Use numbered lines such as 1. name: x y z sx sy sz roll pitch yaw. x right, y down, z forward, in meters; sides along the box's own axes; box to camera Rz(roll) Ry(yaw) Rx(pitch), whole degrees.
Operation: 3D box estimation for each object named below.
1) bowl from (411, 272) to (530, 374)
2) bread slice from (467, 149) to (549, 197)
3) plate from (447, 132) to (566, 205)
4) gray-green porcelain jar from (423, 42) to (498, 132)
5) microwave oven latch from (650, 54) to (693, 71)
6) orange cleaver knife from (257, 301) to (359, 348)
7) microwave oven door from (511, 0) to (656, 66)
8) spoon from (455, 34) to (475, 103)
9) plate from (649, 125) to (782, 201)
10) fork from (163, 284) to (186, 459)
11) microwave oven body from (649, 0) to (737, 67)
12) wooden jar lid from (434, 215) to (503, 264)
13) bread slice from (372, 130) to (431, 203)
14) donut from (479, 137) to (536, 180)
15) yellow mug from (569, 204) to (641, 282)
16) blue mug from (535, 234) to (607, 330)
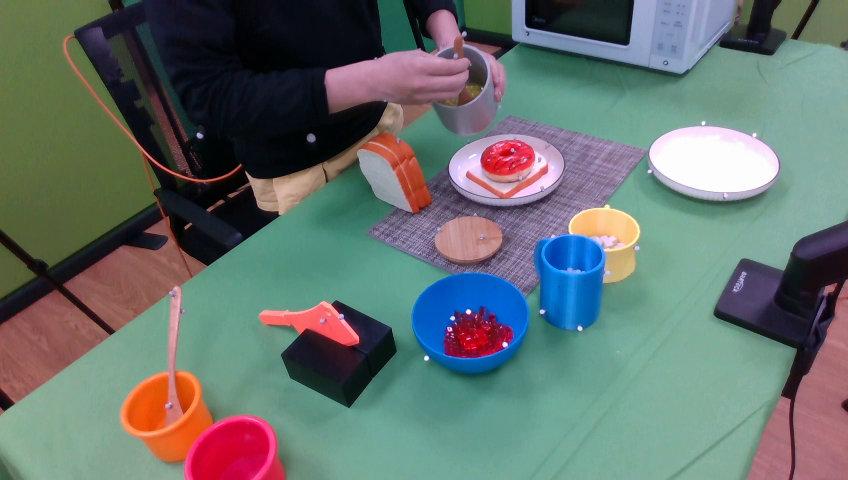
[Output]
1. bowl: 0.061 0.120 0.780 0.151 0.077 0.150 -4 40 4
2. bread slice: 0.156 -0.128 1.085 0.132 0.019 0.104 -34 48 -23
3. plate: 0.146 -0.124 1.076 0.209 0.038 0.208 -4 41 4
4. gray-green porcelain jar: 0.063 -0.238 0.971 0.105 0.127 0.105 -3 78 12
5. microwave oven latch: 0.531 -0.386 1.301 0.078 0.029 0.030 26 51 33
6. orange cleaver knife: -0.160 0.115 0.813 0.210 0.077 0.012 -9 29 48
7. microwave oven door: 0.351 -0.539 1.348 0.353 0.245 0.039 24 50 31
8. spoon: 0.057 -0.235 0.883 0.041 0.195 0.021 -25 65 -2
9. plate: 0.493 -0.127 1.036 0.207 0.039 0.206 -4 41 4
10. fork: -0.302 0.157 0.733 0.028 0.019 0.207 -3 84 14
11. microwave oven body: 0.475 -0.602 1.411 0.438 0.261 0.327 23 50 32
12. wooden jar lid: 0.070 0.001 0.956 0.108 0.021 0.108 -4 40 4
13. bread slice: -0.042 -0.127 1.038 0.106 0.135 0.018 29 61 33
14. donut: 0.145 -0.144 1.056 0.099 0.048 0.098 -6 43 6
15. yellow mug: 0.268 -0.005 0.904 0.099 0.064 0.130 7 41 15
16. blue mug: 0.190 0.048 0.824 0.082 0.106 0.115 -26 44 -20
